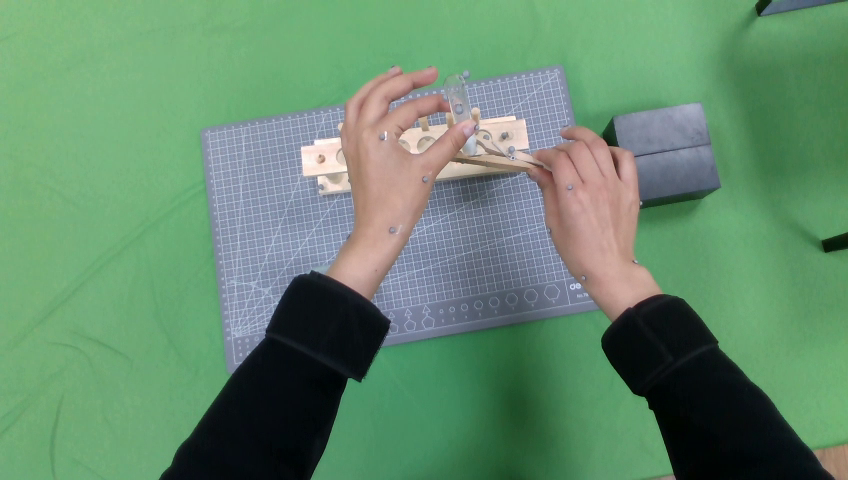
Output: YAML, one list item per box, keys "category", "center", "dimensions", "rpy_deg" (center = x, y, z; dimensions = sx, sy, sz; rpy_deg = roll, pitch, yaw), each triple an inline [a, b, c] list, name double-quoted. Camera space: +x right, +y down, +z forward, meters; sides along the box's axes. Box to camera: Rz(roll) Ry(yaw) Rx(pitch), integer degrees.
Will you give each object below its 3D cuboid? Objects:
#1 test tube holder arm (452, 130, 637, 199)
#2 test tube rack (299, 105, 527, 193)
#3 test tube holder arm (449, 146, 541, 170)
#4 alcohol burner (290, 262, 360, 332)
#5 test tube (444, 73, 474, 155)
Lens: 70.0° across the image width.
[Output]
- category: "test tube holder arm"
  center: [0.111, -0.071, 0.569]
  dimensions: [0.178, 0.015, 0.013]
  rpy_deg: [18, 88, 9]
- category: "test tube rack"
  center: [-0.012, -0.109, 0.687]
  dimensions: [0.242, 0.085, 0.066]
  rpy_deg: [-7, 80, 1]
- category: "test tube holder arm"
  center: [0.067, -0.077, 0.575]
  dimensions: [0.087, 0.015, 0.010]
  rpy_deg: [8, 86, 8]
- category: "alcohol burner"
  center: [-0.109, 0.059, 0.649]
  dimensions: [0.078, 0.119, 0.077]
  rpy_deg: [0, 79, 1]
- category: "test tube"
  center: [0.031, -0.100, 0.508]
  dimensions: [0.017, 0.151, 0.017]
  rpy_deg: [-1, 80, 7]
